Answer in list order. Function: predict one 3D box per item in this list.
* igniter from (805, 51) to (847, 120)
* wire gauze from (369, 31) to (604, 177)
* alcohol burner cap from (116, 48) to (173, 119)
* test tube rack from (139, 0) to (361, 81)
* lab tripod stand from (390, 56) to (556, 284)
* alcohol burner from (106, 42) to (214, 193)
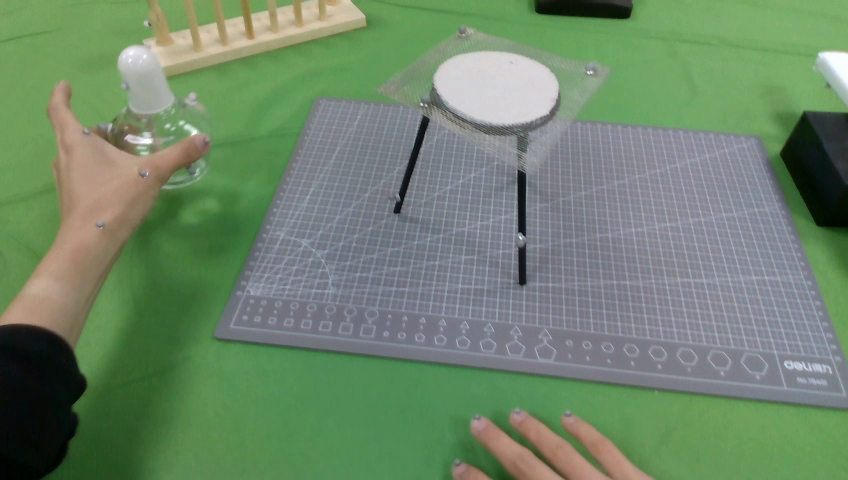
[{"bbox_3d":[0.391,-0.085,0.513,0.057,0.025,0.274,1,45,4],"label":"igniter"},{"bbox_3d":[0.045,-0.104,0.415,0.124,0.011,0.121,28,53,20],"label":"wire gauze"},{"bbox_3d":[-0.204,-0.115,0.437,0.034,0.048,0.033,3,49,-3],"label":"alcohol burner cap"},{"bbox_3d":[-0.196,-0.260,0.675,0.243,0.086,0.066,-23,53,-21],"label":"test tube rack"},{"bbox_3d":[0.048,-0.057,0.464,0.148,0.132,0.147,2,48,-2],"label":"lab tripod stand"},{"bbox_3d":[-0.204,-0.095,0.460,0.078,0.120,0.077,2,49,-1],"label":"alcohol burner"}]
